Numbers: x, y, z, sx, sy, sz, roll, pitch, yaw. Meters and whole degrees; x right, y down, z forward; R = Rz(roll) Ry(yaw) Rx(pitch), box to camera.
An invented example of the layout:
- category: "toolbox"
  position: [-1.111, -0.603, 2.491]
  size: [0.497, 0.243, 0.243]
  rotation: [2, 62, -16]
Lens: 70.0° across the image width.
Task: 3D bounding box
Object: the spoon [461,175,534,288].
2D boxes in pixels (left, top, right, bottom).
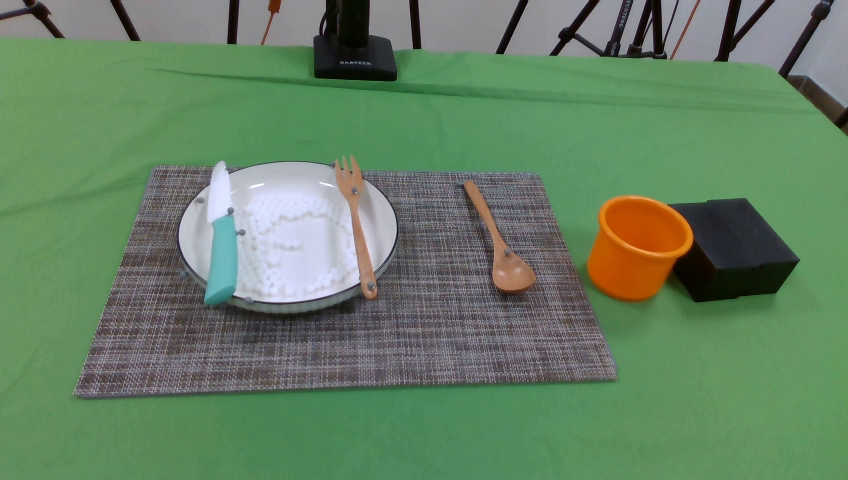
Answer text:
- category: "spoon"
  position: [0.072, -0.016, 0.650]
  size: [0.041, 0.022, 0.191]
  rotation: [-17, 46, -1]

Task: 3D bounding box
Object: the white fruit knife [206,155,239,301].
- category: "white fruit knife"
  position: [-0.191, -0.022, 0.572]
  size: [0.027, 0.016, 0.205]
  rotation: [-8, 44, -12]

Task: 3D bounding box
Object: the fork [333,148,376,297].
- category: "fork"
  position: [-0.068, -0.024, 0.594]
  size: [0.028, 0.019, 0.205]
  rotation: [-11, 44, -6]

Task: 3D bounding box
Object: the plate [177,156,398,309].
- category: "plate"
  position: [-0.130, -0.009, 0.599]
  size: [0.209, 0.038, 0.207]
  rotation: [5, 43, -4]
